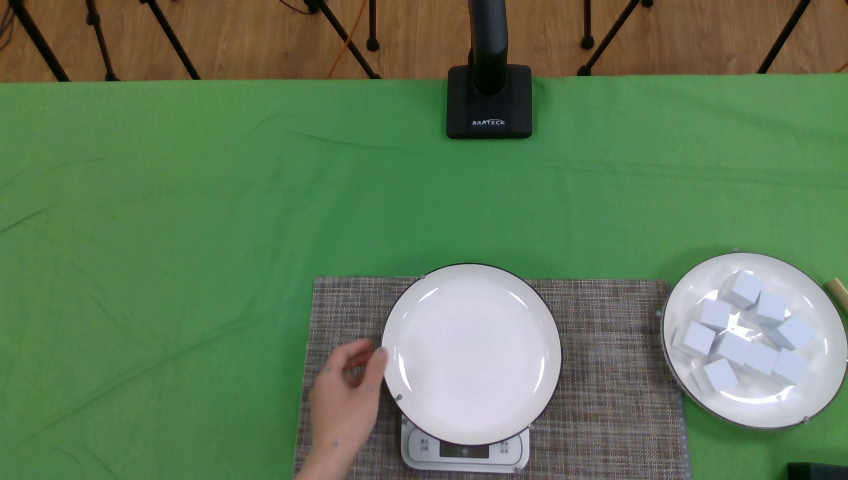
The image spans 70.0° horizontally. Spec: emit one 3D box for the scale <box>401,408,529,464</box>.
[{"bbox_3d":[0.049,0.160,0.723,0.148,0.032,0.199,1,71,5],"label":"scale"}]

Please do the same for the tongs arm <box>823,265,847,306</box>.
[{"bbox_3d":[0.584,0.189,0.675,0.028,0.028,0.384,-28,72,-8],"label":"tongs arm"}]

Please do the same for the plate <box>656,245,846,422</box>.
[{"bbox_3d":[0.378,0.109,0.715,0.207,0.039,0.206,-1,71,4],"label":"plate"}]

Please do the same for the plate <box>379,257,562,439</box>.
[{"bbox_3d":[0.052,0.122,0.701,0.209,0.038,0.207,-1,71,4],"label":"plate"}]
